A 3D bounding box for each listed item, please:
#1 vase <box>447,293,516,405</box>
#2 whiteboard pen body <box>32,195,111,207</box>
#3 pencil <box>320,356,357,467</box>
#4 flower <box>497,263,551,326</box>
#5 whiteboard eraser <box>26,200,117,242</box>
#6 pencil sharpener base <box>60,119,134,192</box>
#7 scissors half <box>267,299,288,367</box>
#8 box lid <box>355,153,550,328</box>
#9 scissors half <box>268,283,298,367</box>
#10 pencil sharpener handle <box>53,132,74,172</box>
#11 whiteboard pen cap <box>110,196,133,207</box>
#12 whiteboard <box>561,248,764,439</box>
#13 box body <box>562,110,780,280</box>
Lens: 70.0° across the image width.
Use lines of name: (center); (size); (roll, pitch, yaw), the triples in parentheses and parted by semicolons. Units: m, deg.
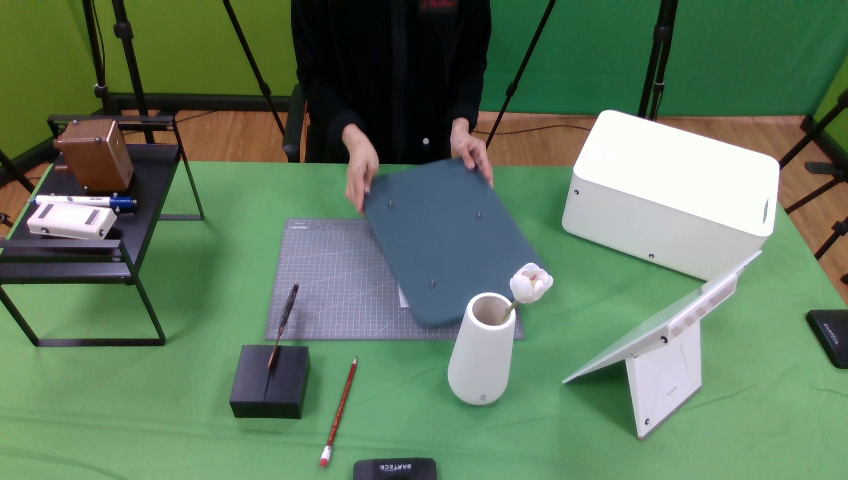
vase: (0.091, 0.169, 0.921); (0.098, 0.201, 0.097); (3, 47, -3)
whiteboard pen body: (-0.543, -0.061, 0.961); (0.141, 0.017, 0.017); (1, 46, -10)
pencil: (-0.130, 0.261, 0.946); (0.012, 0.012, 0.193); (10, 45, 5)
flower: (0.103, 0.121, 0.853); (0.044, 0.363, 0.038); (-1, 63, -9)
whiteboard eraser: (-0.532, -0.026, 0.919); (0.113, 0.042, 0.055); (7, 45, 3)
pencil sharpener base: (-0.528, -0.135, 0.979); (0.077, 0.107, 0.061); (-4, 47, -7)
scissors half: (-0.239, 0.150, 0.997); (0.013, 0.040, 0.174); (24, 24, -13)
box lid: (0.044, -0.015, 1.134); (0.263, 0.015, 0.369); (-17, 54, -16)
scissors half: (-0.230, 0.135, 0.986); (0.013, 0.040, 0.174); (19, 43, -11)
pencil sharpener handle: (-0.578, -0.138, 0.961); (0.031, 0.068, 0.036); (-4, 34, -7)
whiteboard pen cap: (-0.486, -0.061, 0.972); (0.033, 0.018, 0.018); (0, 47, -9)
whiteboard: (0.386, 0.176, 0.905); (0.217, 0.306, 0.143); (-26, 72, -27)
box body: (0.486, -0.088, 1.222); (0.363, 0.161, 0.253); (20, 48, 15)
